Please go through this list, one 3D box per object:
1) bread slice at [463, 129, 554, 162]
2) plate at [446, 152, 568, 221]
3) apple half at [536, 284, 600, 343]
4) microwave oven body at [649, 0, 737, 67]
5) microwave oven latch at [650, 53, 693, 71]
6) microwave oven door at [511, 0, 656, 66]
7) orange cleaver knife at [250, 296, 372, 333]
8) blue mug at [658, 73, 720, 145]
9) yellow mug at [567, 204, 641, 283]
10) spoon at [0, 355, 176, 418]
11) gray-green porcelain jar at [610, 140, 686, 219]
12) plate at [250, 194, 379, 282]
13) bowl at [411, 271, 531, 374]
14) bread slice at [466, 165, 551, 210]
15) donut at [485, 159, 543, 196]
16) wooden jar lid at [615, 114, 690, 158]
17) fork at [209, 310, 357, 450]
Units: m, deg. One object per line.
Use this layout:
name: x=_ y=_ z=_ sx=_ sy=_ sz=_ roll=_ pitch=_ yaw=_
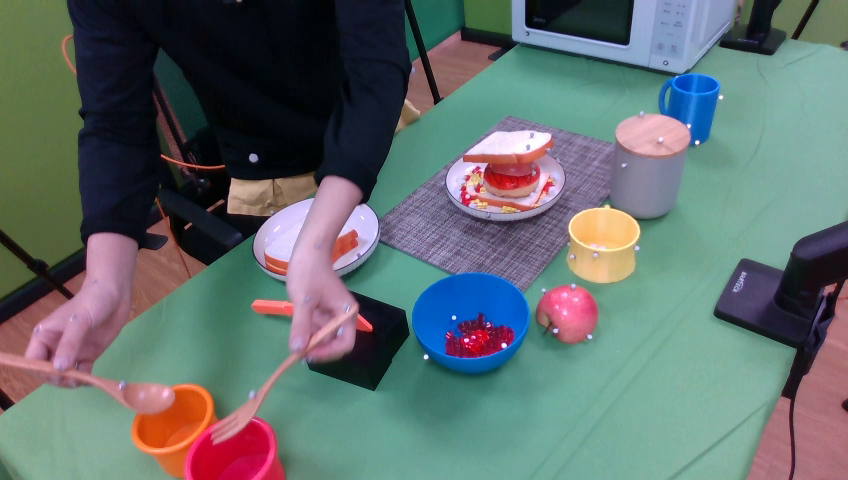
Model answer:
bread slice: x=0.142 y=-0.154 z=0.974 sx=0.130 sy=0.019 sz=0.105 roll=9 pitch=35 yaw=38
plate: x=0.142 y=-0.097 z=1.045 sx=0.207 sy=0.039 sz=0.206 roll=-4 pitch=40 yaw=4
apple half: x=0.196 y=0.091 z=0.815 sx=0.075 sy=0.053 sz=0.080 roll=-22 pitch=42 yaw=-20
microwave oven body: x=0.475 y=-0.602 z=1.411 sx=0.438 sy=0.261 sz=0.327 roll=23 pitch=50 yaw=32
microwave oven latch: x=0.531 y=-0.386 z=1.301 sx=0.078 sy=0.029 sz=0.030 roll=25 pitch=51 yaw=33
microwave oven door: x=0.350 y=-0.539 z=1.348 sx=0.353 sy=0.245 sz=0.039 roll=24 pitch=50 yaw=31
orange cleaver knife: x=-0.159 y=0.103 z=0.828 sx=0.210 sy=0.078 sz=0.012 roll=-4 pitch=43 yaw=39
blue mug: x=0.483 y=-0.250 z=1.127 sx=0.082 sy=0.106 sz=0.115 roll=-26 pitch=44 yaw=-19
yellow mug: x=0.268 y=-0.004 z=0.904 sx=0.099 sy=0.064 sz=0.130 roll=6 pitch=41 yaw=16
spoon: x=-0.364 y=0.151 z=0.643 sx=0.195 sy=0.021 sz=0.041 roll=26 pitch=34 yaw=-21
gray-green porcelain jar: x=0.354 y=-0.106 z=0.964 sx=0.106 sy=0.127 sz=0.105 roll=-4 pitch=41 yaw=4
plate: x=-0.174 y=0.000 z=0.984 sx=0.209 sy=0.038 sz=0.208 roll=-4 pitch=40 yaw=3
bowl: x=0.062 y=0.119 z=0.780 sx=0.151 sy=0.077 sz=0.150 roll=-4 pitch=40 yaw=4
bread slice: x=0.141 y=-0.093 z=1.041 sx=0.133 sy=0.018 sz=0.107 roll=8 pitch=42 yaw=20
donut: x=0.151 y=-0.112 z=1.018 sx=0.099 sy=0.048 sz=0.098 roll=-4 pitch=40 yaw=4
wooden jar lid: x=0.347 y=-0.155 z=0.923 sx=0.108 sy=0.021 sz=0.108 roll=-3 pitch=44 yaw=4
fork: x=-0.145 y=0.143 z=0.620 sx=0.207 sy=0.019 sz=0.028 roll=-45 pitch=35 yaw=6
